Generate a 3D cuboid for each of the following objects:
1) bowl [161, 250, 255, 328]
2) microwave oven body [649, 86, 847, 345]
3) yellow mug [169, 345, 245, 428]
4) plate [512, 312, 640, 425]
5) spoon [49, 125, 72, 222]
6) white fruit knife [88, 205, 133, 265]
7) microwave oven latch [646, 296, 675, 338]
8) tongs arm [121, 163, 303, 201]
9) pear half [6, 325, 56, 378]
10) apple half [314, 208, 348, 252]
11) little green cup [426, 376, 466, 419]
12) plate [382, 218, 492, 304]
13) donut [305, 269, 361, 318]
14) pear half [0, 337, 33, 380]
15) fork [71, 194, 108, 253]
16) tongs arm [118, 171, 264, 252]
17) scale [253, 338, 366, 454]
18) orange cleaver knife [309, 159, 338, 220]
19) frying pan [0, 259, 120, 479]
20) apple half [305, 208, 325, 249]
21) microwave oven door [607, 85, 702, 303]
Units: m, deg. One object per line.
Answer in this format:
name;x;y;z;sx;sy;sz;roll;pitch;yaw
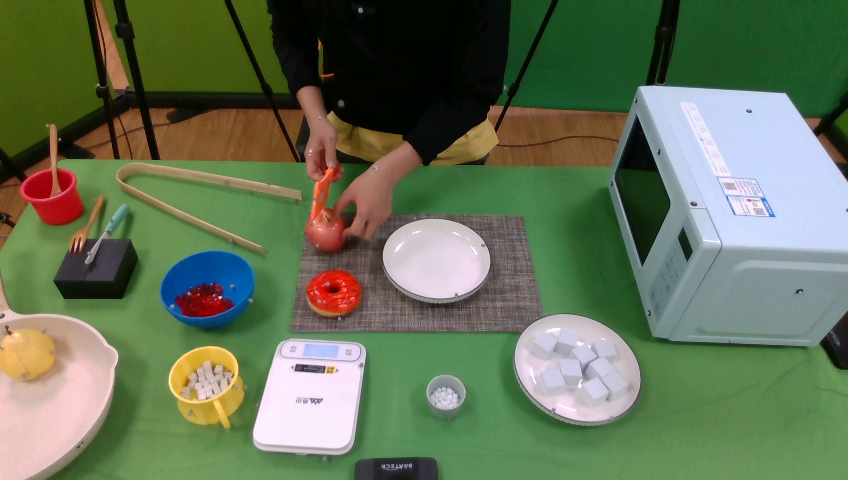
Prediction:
bowl;-0.362;0.098;1.039;0.151;0.077;0.150;2;45;-2
microwave oven body;0.568;-0.053;1.118;0.326;0.261;0.439;2;45;-1
yellow mug;-0.322;0.230;0.922;0.100;0.064;0.130;-24;53;-25
plate;0.246;0.213;0.999;0.208;0.039;0.206;2;46;-2
spoon;-0.718;-0.131;1.189;0.041;0.021;0.193;-4;90;-6
white fruit knife;-0.584;-0.013;1.129;0.016;0.027;0.206;0;32;-5
microwave oven latch;0.412;0.134;1.061;0.030;0.029;0.078;4;45;1
tongs arm;-0.444;-0.115;1.267;0.384;0.026;0.050;12;49;8
pear half;-0.608;0.158;0.935;0.076;0.110;0.056;31;51;20
apple half;-0.174;-0.015;1.160;0.053;0.075;0.080;14;43;1
little green cup;0.033;0.248;0.950;0.061;0.039;0.061;2;46;-2
plate;0.023;0.042;1.143;0.209;0.038;0.208;2;46;-2
donut;-0.160;0.094;1.075;0.099;0.048;0.098;4;45;-3
pear half;-0.631;0.184;0.921;0.070;0.088;0.031;29;49;19
fork;-0.634;-0.036;1.158;0.028;0.019;0.206;-8;32;-8
tongs arm;-0.473;-0.057;1.209;0.386;0.028;0.028;23;55;18
scale;-0.175;0.236;0.951;0.149;0.032;0.199;5;45;-1
orange cleaver knife;-0.187;-0.097;1.133;0.012;0.077;0.210;10;23;-1
frying pan;-0.647;0.164;0.936;0.307;0.103;0.485;-19;58;-22
apple half;-0.211;-0.023;1.161;0.033;0.081;0.081;14;47;2
microwave oven door;0.423;-0.094;1.140;0.039;0.245;0.353;2;46;-1
